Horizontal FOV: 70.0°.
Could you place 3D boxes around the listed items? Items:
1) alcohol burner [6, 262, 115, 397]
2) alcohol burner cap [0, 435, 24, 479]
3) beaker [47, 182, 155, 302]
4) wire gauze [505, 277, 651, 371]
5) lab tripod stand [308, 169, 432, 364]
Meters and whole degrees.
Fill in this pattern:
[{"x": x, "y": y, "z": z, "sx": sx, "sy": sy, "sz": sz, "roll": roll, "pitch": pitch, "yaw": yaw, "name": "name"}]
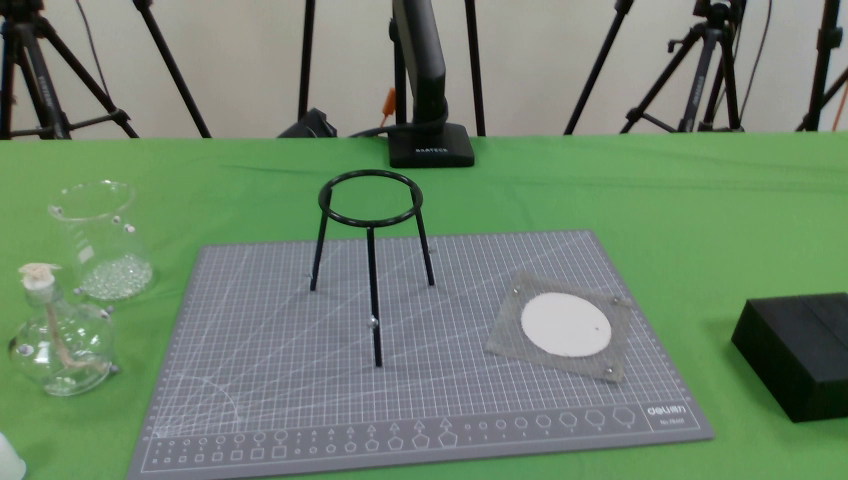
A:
[{"x": -0.295, "y": 0.067, "z": 0.486, "sx": 0.078, "sy": 0.120, "sz": 0.077, "roll": 2, "pitch": 33, "yaw": -1, "name": "alcohol burner"}, {"x": -0.307, "y": 0.154, "z": 0.424, "sx": 0.034, "sy": 0.048, "sz": 0.033, "roll": 2, "pitch": 34, "yaw": -1, "name": "alcohol burner cap"}, {"x": -0.309, "y": 0.002, "z": 0.592, "sx": 0.074, "sy": 0.101, "sz": 0.083, "roll": 5, "pitch": 34, "yaw": 3, "name": "beaker"}, {"x": 0.139, "y": 0.072, "z": 0.565, "sx": 0.125, "sy": 0.011, "sz": 0.120, "roll": 7, "pitch": 33, "yaw": -4, "name": "wire gauze"}, {"x": -0.046, "y": 0.016, "z": 0.551, "sx": 0.148, "sy": 0.132, "sz": 0.147, "roll": 3, "pitch": 36, "yaw": -2, "name": "lab tripod stand"}]
